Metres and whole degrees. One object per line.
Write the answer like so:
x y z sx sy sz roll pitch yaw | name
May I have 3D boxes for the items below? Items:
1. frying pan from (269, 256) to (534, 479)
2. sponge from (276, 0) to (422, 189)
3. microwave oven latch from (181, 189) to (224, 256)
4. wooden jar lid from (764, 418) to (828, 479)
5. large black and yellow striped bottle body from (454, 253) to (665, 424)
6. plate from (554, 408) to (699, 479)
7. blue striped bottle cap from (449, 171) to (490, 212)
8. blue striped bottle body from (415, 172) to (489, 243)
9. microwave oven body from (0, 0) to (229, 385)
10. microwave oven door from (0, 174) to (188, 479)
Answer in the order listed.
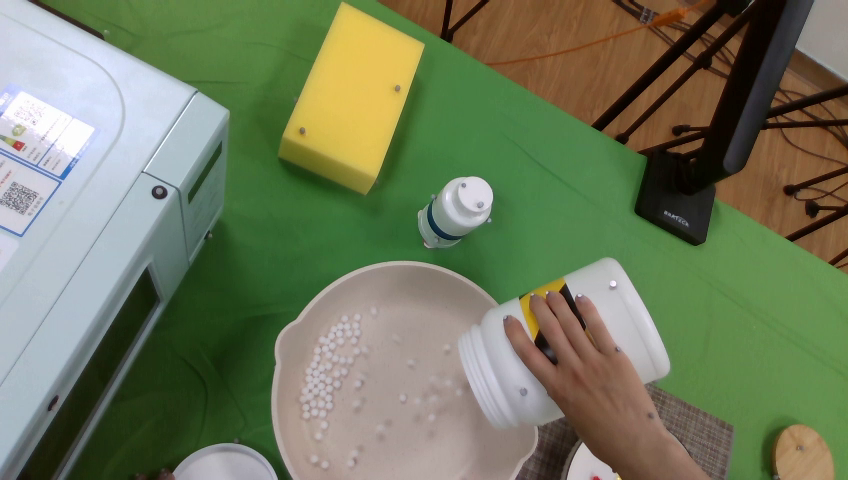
-0.055 0.249 0.624 0.308 0.103 0.484 26 60 -9 | frying pan
-0.091 -0.183 0.758 0.119 0.061 0.205 22 69 -13 | sponge
-0.245 -0.024 0.650 0.030 0.029 0.079 30 68 -10 | microwave oven latch
0.532 0.312 0.869 0.109 0.021 0.108 5 75 -18 | wooden jar lid
0.136 0.107 0.629 0.184 0.131 0.130 -25 83 10 | large black and yellow striped bottle body
0.248 0.317 0.750 0.210 0.038 0.208 6 73 -18 | plate
0.052 -0.055 0.686 0.045 0.020 0.044 5 74 -18 | blue striped bottle cap
0.036 -0.041 0.732 0.063 0.121 0.062 5 73 -18 | blue striped bottle body
-0.408 0.033 0.469 0.327 0.260 0.439 28 68 -11 | microwave oven body
-0.294 0.134 0.476 0.039 0.244 0.354 27 67 -10 | microwave oven door
